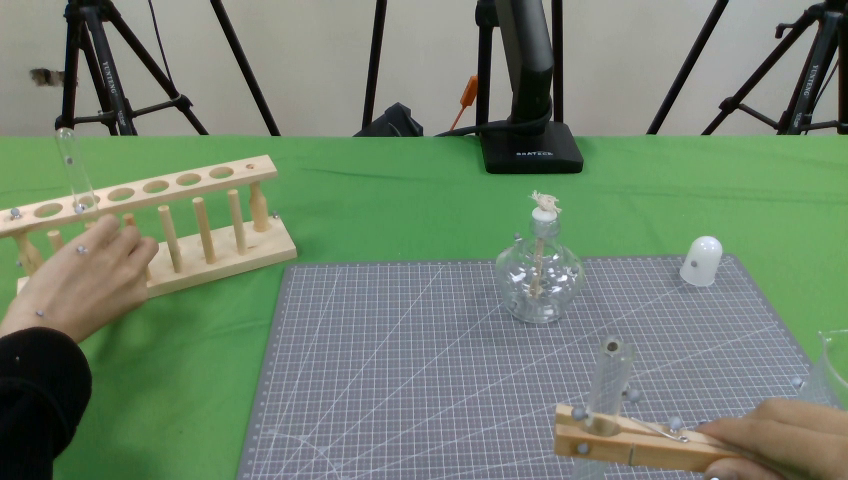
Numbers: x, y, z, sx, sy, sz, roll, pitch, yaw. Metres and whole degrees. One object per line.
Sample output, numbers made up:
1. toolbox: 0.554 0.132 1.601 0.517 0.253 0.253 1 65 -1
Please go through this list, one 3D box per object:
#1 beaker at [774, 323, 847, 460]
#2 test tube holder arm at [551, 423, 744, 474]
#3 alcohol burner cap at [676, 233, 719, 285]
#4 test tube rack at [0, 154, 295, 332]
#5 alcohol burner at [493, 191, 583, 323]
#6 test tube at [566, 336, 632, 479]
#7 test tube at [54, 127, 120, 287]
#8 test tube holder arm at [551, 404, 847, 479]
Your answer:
1. beaker: 0.280 0.114 0.397 0.074 0.101 0.083 -20 41 -25
2. test tube holder arm: 0.106 0.100 0.291 0.088 0.015 0.010 5 31 5
3. alcohol burner cap: 0.261 0.015 0.574 0.034 0.048 0.033 1 37 0
4. test tube rack: -0.251 -0.003 0.559 0.243 0.086 0.066 -16 40 -21
5. alcohol burner: 0.099 0.012 0.518 0.078 0.120 0.077 -1 36 1
6. test tube: 0.082 0.115 0.308 0.017 0.151 0.017 4 25 -1
7. test tube: -0.279 -0.023 0.505 0.017 0.151 0.017 2 34 -1
8. test tube holder arm: 0.151 0.103 0.289 0.178 0.015 0.013 8 32 11
